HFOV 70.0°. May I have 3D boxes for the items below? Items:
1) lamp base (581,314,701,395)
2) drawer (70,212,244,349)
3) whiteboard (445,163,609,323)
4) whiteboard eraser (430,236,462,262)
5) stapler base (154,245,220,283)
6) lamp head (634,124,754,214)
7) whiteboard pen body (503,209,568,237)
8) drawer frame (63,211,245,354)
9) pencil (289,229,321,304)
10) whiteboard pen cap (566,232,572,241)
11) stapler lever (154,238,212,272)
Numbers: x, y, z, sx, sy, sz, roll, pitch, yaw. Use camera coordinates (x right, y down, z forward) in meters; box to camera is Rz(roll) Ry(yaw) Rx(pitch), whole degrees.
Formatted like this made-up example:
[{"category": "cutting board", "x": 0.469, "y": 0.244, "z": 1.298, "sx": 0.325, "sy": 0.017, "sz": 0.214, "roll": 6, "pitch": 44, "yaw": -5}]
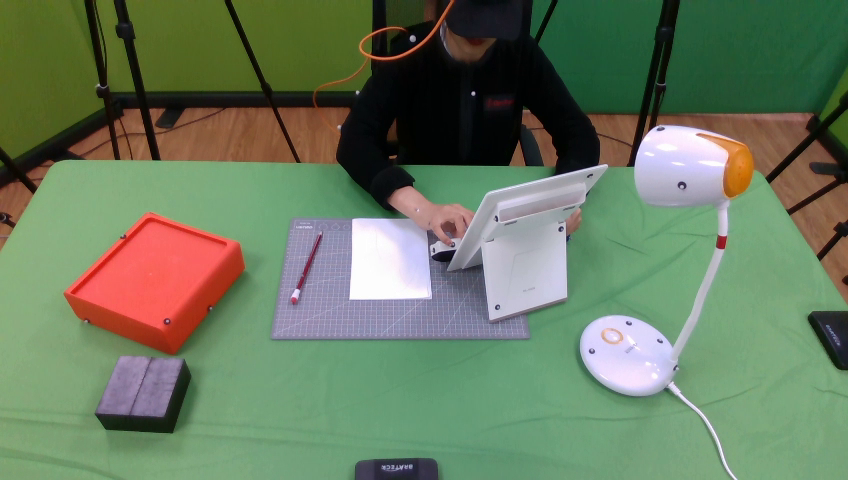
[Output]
[{"category": "lamp base", "x": 0.361, "y": 0.144, "z": 0.973, "sx": 0.178, "sy": 0.181, "sz": 0.160, "roll": 34, "pitch": 53, "yaw": 23}, {"category": "drawer", "x": -0.458, "y": 0.065, "z": 1.060, "sx": 0.194, "sy": 0.073, "sz": 0.211, "roll": 18, "pitch": 48, "yaw": 12}, {"category": "whiteboard", "x": 0.186, "y": 0.026, "z": 1.028, "sx": 0.217, "sy": 0.306, "sz": 0.143, "roll": -13, "pitch": 68, "yaw": -17}, {"category": "whiteboard eraser", "x": 0.071, "y": 0.014, "z": 1.134, "sx": 0.113, "sy": 0.055, "sz": 0.041, "roll": -9, "pitch": 79, "yaw": -19}, {"category": "stapler base", "x": -0.434, "y": 0.038, "z": 1.107, "sx": 0.130, "sy": 0.024, "sz": 0.041, "roll": 21, "pitch": 45, "yaw": 17}, {"category": "lamp head", "x": 0.351, "y": -0.089, "z": 0.776, "sx": 0.112, "sy": 0.113, "sz": 0.122, "roll": -30, "pitch": 30, "yaw": -28}, {"category": "whiteboard pen body", "x": 0.229, "y": -0.034, "z": 1.248, "sx": 0.140, "sy": 0.017, "sz": 0.017, "roll": 23, "pitch": 49, "yaw": 15}, {"category": "drawer frame", "x": -0.459, "y": 0.067, "z": 1.056, "sx": 0.201, "sy": 0.083, "sz": 0.212, "roll": 17, "pitch": 48, "yaw": 11}, {"category": "pencil", "x": -0.221, "y": 0.046, "z": 1.141, "sx": 0.012, "sy": 0.012, "sz": 0.193, "roll": 8, "pitch": 44, "yaw": 4}, {"category": "whiteboard pen cap", "x": 0.282, "y": -0.012, "z": 1.231, "sx": 0.033, "sy": 0.018, "sz": 0.018, "roll": 25, "pitch": 49, "yaw": 15}, {"category": "stapler lever", "x": -0.434, "y": 0.022, "z": 1.091, "sx": 0.118, "sy": 0.040, "sz": 0.027, "roll": 23, "pitch": 46, "yaw": 15}]
